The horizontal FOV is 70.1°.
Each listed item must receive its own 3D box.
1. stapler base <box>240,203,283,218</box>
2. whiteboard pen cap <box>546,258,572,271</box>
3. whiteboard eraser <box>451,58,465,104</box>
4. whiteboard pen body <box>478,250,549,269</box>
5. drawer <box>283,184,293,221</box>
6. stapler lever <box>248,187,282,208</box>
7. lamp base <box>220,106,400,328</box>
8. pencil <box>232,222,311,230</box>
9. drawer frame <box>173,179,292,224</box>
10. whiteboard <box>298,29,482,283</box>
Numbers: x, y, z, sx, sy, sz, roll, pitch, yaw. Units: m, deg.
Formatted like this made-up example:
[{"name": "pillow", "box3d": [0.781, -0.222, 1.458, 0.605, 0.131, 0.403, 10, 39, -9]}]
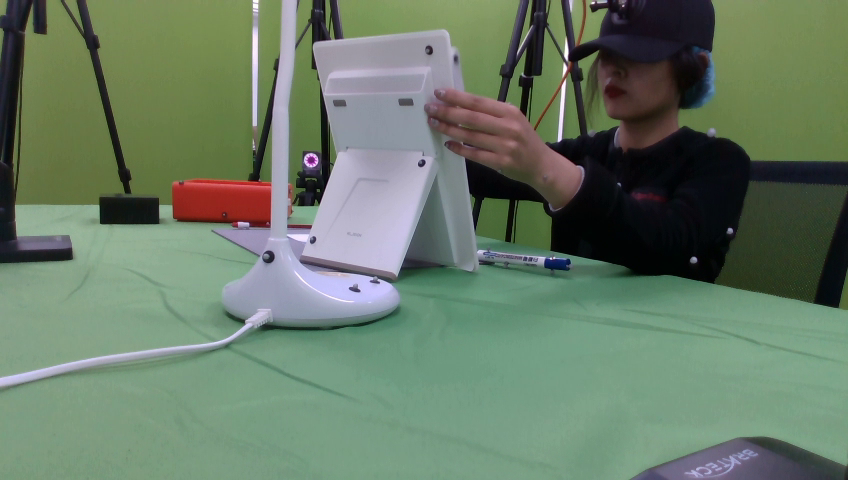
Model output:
[{"name": "stapler base", "box3d": [-0.349, -0.066, 1.309, 0.041, 0.024, 0.131, 19, 7, 12]}, {"name": "whiteboard pen cap", "box3d": [0.176, 0.032, 0.790, 0.033, 0.018, 0.018, 3, 6, 37]}, {"name": "whiteboard eraser", "box3d": [-0.006, -0.192, 0.744, 0.112, 0.055, 0.042, 9, 26, 38]}, {"name": "whiteboard pen body", "box3d": [0.130, 0.027, 0.828, 0.140, 0.017, 0.017, 6, 8, 38]}, {"name": "drawer", "box3d": [-0.396, -0.085, 1.301, 0.212, 0.073, 0.194, 1, 8, -7]}, {"name": "stapler lever", "box3d": [-0.341, -0.092, 1.308, 0.027, 0.040, 0.118, 19, 5, 12]}, {"name": "lamp base", "box3d": [-0.101, -0.023, 0.531, 0.160, 0.180, 0.179, 4, 10, 10]}, {"name": "pencil", "box3d": [-0.261, -0.025, 1.140, 0.195, 0.012, 0.012, 2, 7, -26]}, {"name": "drawer frame", "box3d": [-0.400, -0.086, 1.300, 0.214, 0.082, 0.201, 1, 8, -8]}, {"name": "whiteboard", "box3d": [-0.075, -0.082, 0.741, 0.216, 0.305, 0.144, 9, 30, 37]}]
